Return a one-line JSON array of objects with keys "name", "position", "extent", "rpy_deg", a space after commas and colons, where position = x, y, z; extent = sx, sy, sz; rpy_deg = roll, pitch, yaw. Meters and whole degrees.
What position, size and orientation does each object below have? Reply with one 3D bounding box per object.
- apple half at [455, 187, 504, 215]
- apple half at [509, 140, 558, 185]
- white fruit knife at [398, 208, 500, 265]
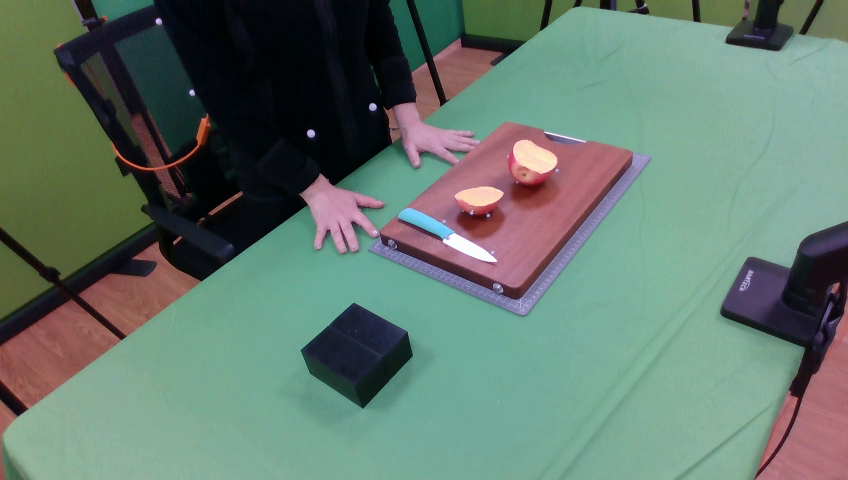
[{"name": "apple half", "position": [0.094, -0.060, 0.988], "extent": [0.081, 0.033, 0.081], "rpy_deg": [-4, 24, 2]}, {"name": "apple half", "position": [0.180, -0.124, 1.028], "extent": [0.081, 0.053, 0.074], "rpy_deg": [25, 44, 3]}, {"name": "white fruit knife", "position": [0.038, -0.007, 0.951], "extent": [0.205, 0.016, 0.027], "rpy_deg": [29, 82, 35]}]
